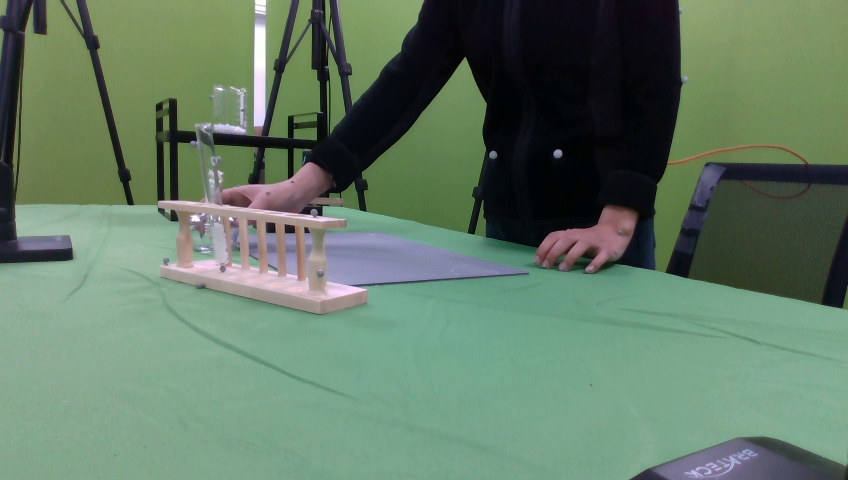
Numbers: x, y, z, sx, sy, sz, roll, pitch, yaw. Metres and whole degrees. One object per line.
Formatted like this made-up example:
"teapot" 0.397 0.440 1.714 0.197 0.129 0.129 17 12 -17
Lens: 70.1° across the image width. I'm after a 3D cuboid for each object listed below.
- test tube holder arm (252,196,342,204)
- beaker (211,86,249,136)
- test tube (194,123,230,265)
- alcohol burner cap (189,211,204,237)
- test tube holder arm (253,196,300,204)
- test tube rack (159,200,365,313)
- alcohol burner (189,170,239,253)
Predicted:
"test tube holder arm" -0.241 -0.077 1.164 0.179 0.015 0.013 -1 8 -33
"beaker" -0.413 -0.274 1.297 0.074 0.100 0.083 -5 11 -44
"test tube" -0.218 -0.045 0.624 0.017 0.150 0.017 -2 19 1
"alcohol burner cap" -0.389 -0.029 1.025 0.034 0.048 0.034 2 8 0
"test tube holder arm" -0.276 -0.075 1.135 0.088 0.015 0.010 -1 8 -32
"test tube rack" -0.173 0.008 0.624 0.241 0.085 0.067 7 9 34
"alcohol burner" -0.303 -0.042 0.871 0.078 0.119 0.078 3 6 0
